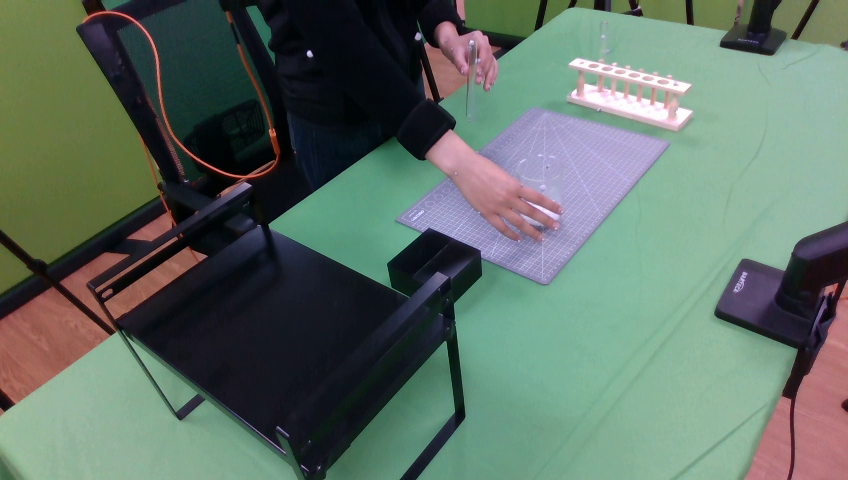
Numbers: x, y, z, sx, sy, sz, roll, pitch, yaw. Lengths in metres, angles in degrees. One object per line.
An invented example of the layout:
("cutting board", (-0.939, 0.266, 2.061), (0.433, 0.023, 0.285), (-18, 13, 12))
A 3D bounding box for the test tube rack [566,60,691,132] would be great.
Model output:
("test tube rack", (0.411, -0.300, 1.217), (0.240, 0.085, 0.067), (26, 51, 33))

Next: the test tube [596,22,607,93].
("test tube", (0.363, -0.372, 1.240), (0.017, 0.151, 0.017), (-6, 40, 5))

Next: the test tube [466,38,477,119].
("test tube", (0.084, -0.282, 1.068), (0.017, 0.151, 0.017), (-1, 41, 1))

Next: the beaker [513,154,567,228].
("beaker", (0.186, -0.077, 0.973), (0.084, 0.101, 0.074), (1, 41, 11))
